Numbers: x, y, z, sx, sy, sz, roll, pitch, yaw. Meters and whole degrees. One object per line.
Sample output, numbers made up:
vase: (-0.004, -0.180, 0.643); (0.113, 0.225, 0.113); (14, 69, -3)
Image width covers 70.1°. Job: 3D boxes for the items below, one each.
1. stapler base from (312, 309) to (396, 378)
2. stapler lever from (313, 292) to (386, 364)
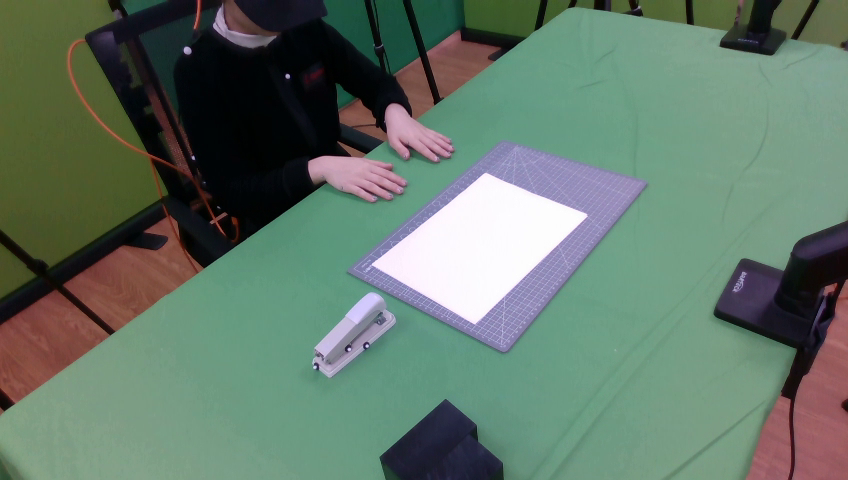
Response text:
stapler base: (-0.096, 0.133, 0.831); (0.041, 0.024, 0.131); (26, 51, 36)
stapler lever: (-0.099, 0.116, 0.814); (0.026, 0.040, 0.118); (25, 51, 36)
